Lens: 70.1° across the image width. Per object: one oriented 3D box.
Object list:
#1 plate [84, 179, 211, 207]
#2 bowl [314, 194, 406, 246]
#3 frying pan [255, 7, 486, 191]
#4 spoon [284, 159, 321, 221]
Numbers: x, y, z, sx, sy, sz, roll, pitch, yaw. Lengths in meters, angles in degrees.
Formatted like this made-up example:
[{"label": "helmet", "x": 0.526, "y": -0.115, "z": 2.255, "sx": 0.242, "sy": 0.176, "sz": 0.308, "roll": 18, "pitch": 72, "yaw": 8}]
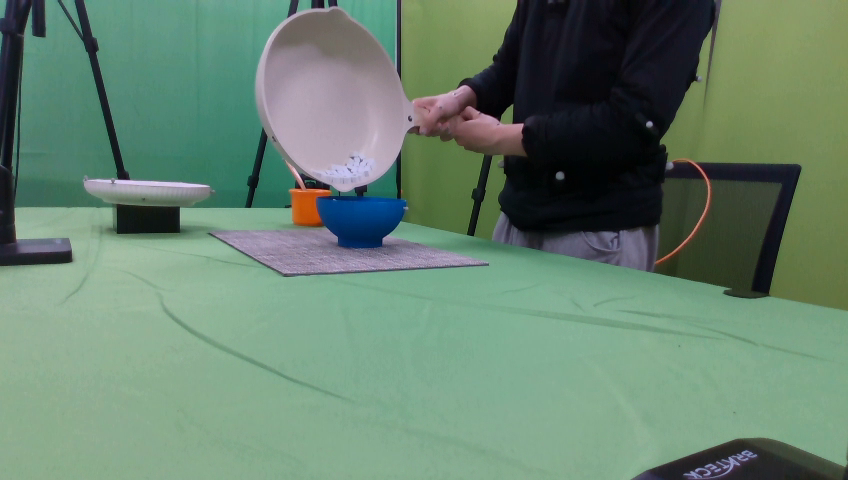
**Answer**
[{"label": "plate", "x": -0.495, "y": -0.085, "z": 1.093, "sx": 0.208, "sy": 0.039, "sz": 0.207, "roll": 4, "pitch": 7, "yaw": 0}, {"label": "bowl", "x": -0.105, "y": -0.033, "z": 0.991, "sx": 0.151, "sy": 0.077, "sz": 0.151, "roll": 3, "pitch": 7, "yaw": 0}, {"label": "frying pan", "x": -0.074, "y": -0.231, "z": 1.082, "sx": 0.491, "sy": 0.306, "sz": 0.102, "roll": 1, "pitch": -2, "yaw": -36}, {"label": "spoon", "x": -0.269, "y": -0.113, "z": 1.335, "sx": 0.042, "sy": 0.193, "sz": 0.021, "roll": -3, "pitch": -35, "yaw": -43}]
